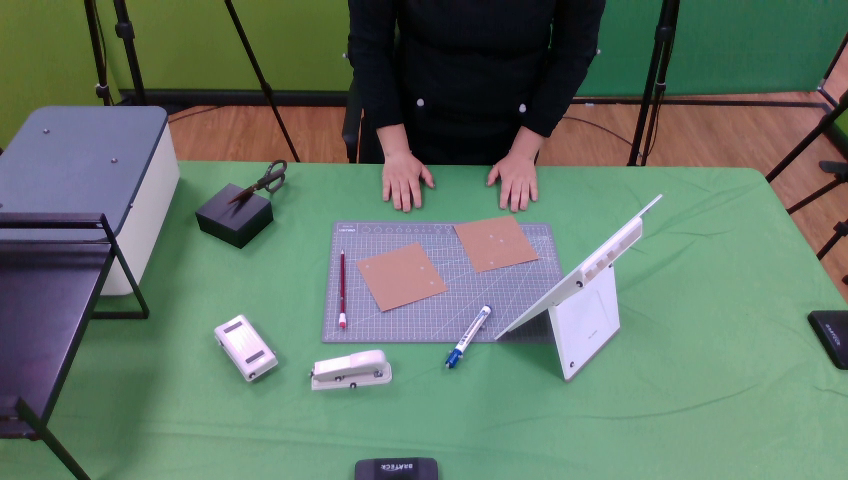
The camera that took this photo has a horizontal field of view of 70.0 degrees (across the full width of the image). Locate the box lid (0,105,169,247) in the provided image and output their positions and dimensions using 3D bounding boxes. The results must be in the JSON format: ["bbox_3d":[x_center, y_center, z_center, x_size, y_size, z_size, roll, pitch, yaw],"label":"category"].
[{"bbox_3d":[-0.624,-0.125,1.067,0.263,0.015,0.369,0,46,-3],"label":"box lid"}]

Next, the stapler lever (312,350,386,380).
[{"bbox_3d":[-0.120,0.198,0.963,0.118,0.040,0.026,-4,44,-8],"label":"stapler lever"}]

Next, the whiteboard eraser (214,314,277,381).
[{"bbox_3d":[-0.292,0.176,0.990,0.055,0.042,0.112,-30,55,-30],"label":"whiteboard eraser"}]

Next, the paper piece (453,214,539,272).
[{"bbox_3d":[0.142,0.003,1.213,0.135,0.004,0.135,-11,47,-14],"label":"paper piece"}]

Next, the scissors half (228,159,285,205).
[{"bbox_3d":[-0.336,-0.117,1.218,0.013,0.040,0.175,25,46,14],"label":"scissors half"}]

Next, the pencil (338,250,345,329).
[{"bbox_3d":[-0.152,0.085,1.108,0.012,0.012,0.192,-2,44,-7],"label":"pencil"}]

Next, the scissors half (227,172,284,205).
[{"bbox_3d":[-0.339,-0.101,1.230,0.013,0.040,0.175,21,28,17],"label":"scissors half"}]

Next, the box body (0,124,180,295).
[{"bbox_3d":[-0.628,-0.075,1.122,0.254,0.161,0.361,1,46,-4],"label":"box body"}]

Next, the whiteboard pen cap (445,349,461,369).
[{"bbox_3d":[0.049,0.197,1.011,0.018,0.018,0.033,24,49,18],"label":"whiteboard pen cap"}]

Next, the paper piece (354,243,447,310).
[{"bbox_3d":[-0.045,0.066,1.137,0.136,0.009,0.137,-14,47,-22],"label":"paper piece"}]

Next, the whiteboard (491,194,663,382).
[{"bbox_3d":[0.280,0.100,0.969,0.217,0.306,0.143,-33,77,-31],"label":"whiteboard"}]

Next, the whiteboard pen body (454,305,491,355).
[{"bbox_3d":[0.079,0.163,1.047,0.017,0.017,0.140,25,50,19],"label":"whiteboard pen body"}]

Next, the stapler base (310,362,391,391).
[{"bbox_3d":[-0.119,0.215,0.981,0.131,0.024,0.041,-5,44,-7],"label":"stapler base"}]
